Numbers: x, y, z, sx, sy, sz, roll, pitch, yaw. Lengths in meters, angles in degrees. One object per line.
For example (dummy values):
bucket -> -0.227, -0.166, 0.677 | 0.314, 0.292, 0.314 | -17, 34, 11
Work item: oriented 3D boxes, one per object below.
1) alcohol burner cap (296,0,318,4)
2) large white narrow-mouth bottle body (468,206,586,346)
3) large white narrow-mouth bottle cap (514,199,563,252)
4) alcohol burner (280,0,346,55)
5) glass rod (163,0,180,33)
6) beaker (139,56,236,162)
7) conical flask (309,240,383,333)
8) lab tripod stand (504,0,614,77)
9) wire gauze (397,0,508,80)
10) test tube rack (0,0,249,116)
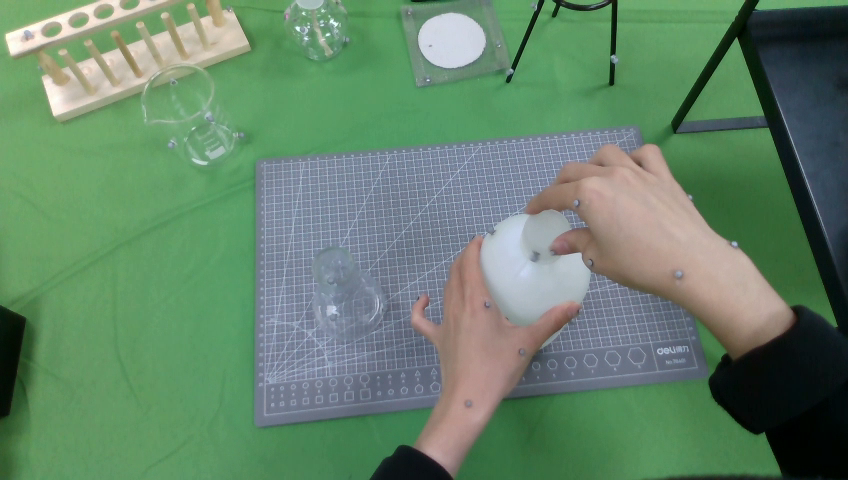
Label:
alcohol burner cap -> -0.134, -0.294, 0.682 | 0.034, 0.048, 0.033 | 4, 66, -8
large white narrow-mouth bottle body -> 0.092, 0.027, 0.545 | 0.102, 0.196, 0.101 | -1, 67, 2
large white narrow-mouth bottle cap -> 0.087, -0.010, 0.460 | 0.038, 0.024, 0.037 | -1, 67, 2
alcohol burner -> -0.133, -0.278, 0.715 | 0.078, 0.120, 0.077 | 0, 65, -1
glass rod -> -0.299, -0.302, 0.666 | 0.008, 0.201, 0.008 | 2, 65, -4
beaker -> -0.255, -0.136, 0.663 | 0.073, 0.101, 0.084 | 39, 73, 15
conical flask -> -0.081, 0.039, 0.576 | 0.075, 0.122, 0.075 | 0, 67, 0
lab tripod stand -> 0.166, -0.260, 0.698 | 0.148, 0.132, 0.147 | 1, 66, -2
wire gauze -> 0.035, -0.263, 0.766 | 0.121, 0.011, 0.124 | -10, 68, -5
test tube rack -> -0.343, -0.239, 0.712 | 0.242, 0.086, 0.066 | -24, 70, -10
